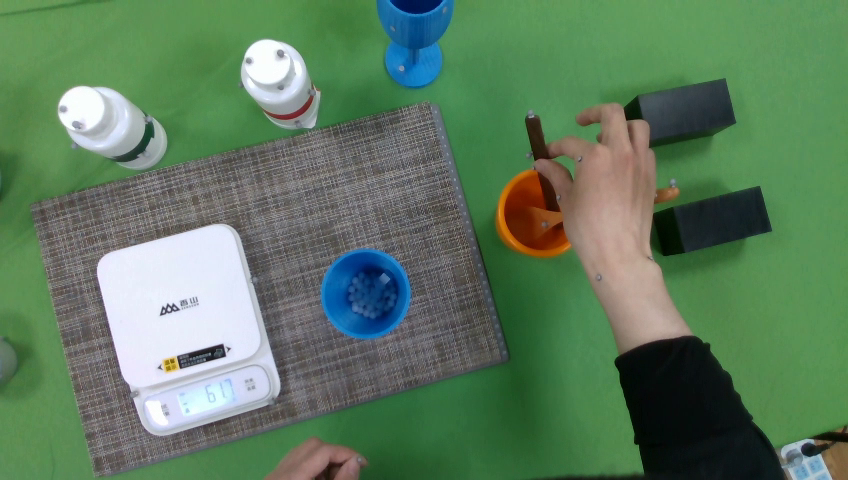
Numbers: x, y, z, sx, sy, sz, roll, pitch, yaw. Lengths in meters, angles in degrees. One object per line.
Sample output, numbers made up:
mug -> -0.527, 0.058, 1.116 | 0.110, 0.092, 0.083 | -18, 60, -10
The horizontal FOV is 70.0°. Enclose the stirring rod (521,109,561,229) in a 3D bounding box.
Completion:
stirring rod -> 0.119, -0.064, 0.606 | 0.014, 0.178, 0.006 | 2, 56, 23

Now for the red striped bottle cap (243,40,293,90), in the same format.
red striped bottle cap -> -0.146, -0.165, 0.568 | 0.044, 0.018, 0.044 | 0, 84, -2

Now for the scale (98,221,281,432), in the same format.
scale -> -0.246, 0.091, 0.639 | 0.149, 0.031, 0.200 | -16, 87, -3

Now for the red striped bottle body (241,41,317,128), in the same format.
red striped bottle body -> -0.148, -0.161, 0.621 | 0.063, 0.120, 0.063 | 0, 85, -3

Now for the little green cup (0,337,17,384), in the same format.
little green cup -> -0.459, 0.127, 0.626 | 0.061, 0.038, 0.061 | 0, 86, -4

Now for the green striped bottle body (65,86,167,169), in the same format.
green striped bottle body -> -0.312, -0.113, 0.610 | 0.063, 0.119, 0.063 | 0, 85, -2

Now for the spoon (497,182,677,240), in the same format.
spoon -> 0.157, -0.031, 0.612 | 0.022, 0.193, 0.041 | -10, 89, -47

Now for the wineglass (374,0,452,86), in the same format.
wineglass -> -0.012, -0.215, 0.605 | 0.074, 0.172, 0.073 | 0, 85, -2

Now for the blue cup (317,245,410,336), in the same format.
blue cup -> -0.056, 0.051, 0.615 | 0.093, 0.100, 0.092 | 0, 86, -1

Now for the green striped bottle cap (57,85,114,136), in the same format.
green striped bottle cap -> -0.310, -0.119, 0.555 | 0.044, 0.020, 0.044 | 0, 86, -1
